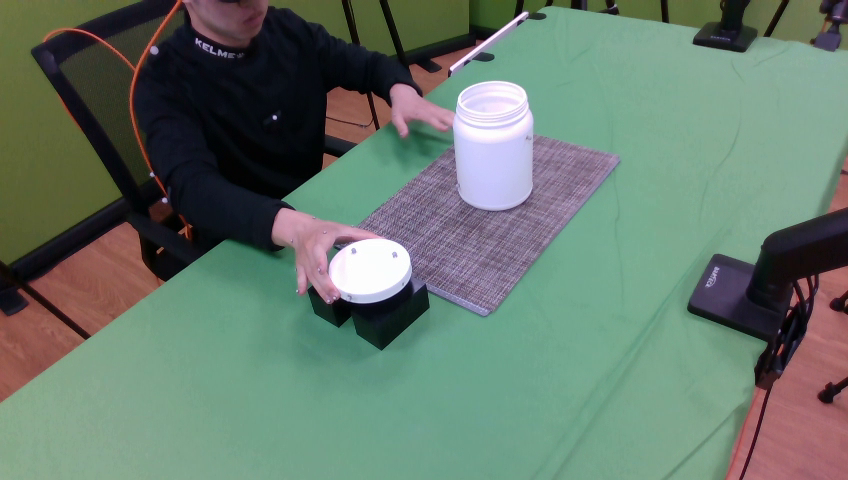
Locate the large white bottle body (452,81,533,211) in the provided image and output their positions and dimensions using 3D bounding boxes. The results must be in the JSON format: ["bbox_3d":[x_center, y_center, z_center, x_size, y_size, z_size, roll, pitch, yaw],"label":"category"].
[{"bbox_3d":[0.115,-0.156,1.002,0.130,0.185,0.130,-5,41,4],"label":"large white bottle body"}]

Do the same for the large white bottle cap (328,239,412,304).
[{"bbox_3d":[-0.074,0.040,0.827,0.115,0.018,0.114,-4,40,4],"label":"large white bottle cap"}]
